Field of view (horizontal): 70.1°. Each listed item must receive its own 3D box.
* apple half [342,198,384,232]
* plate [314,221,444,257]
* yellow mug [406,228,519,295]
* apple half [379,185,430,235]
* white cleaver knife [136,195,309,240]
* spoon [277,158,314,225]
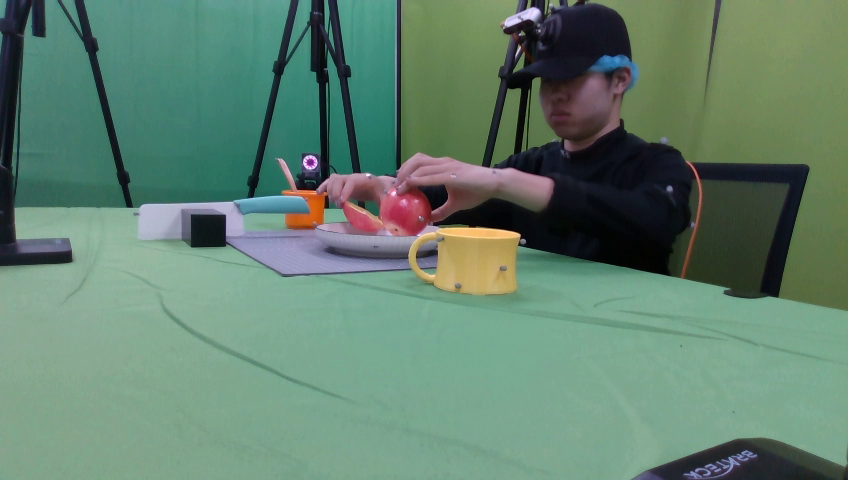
[{"bbox_3d":[-0.105,-0.032,0.990,0.081,0.033,0.081,36,4,-3],"label":"apple half"},{"bbox_3d":[-0.067,-0.002,0.947,0.209,0.038,0.209,3,7,0],"label":"plate"},{"bbox_3d":[0.044,0.022,0.707,0.131,0.064,0.100,2,7,5],"label":"yellow mug"},{"bbox_3d":[-0.023,-0.042,0.910,0.053,0.081,0.075,-7,41,46],"label":"apple half"},{"bbox_3d":[-0.337,-0.039,1.037,0.288,0.066,0.021,-6,15,-29],"label":"white cleaver knife"},{"bbox_3d":[-0.272,-0.103,1.260,0.042,0.193,0.021,-6,-33,-32],"label":"spoon"}]
